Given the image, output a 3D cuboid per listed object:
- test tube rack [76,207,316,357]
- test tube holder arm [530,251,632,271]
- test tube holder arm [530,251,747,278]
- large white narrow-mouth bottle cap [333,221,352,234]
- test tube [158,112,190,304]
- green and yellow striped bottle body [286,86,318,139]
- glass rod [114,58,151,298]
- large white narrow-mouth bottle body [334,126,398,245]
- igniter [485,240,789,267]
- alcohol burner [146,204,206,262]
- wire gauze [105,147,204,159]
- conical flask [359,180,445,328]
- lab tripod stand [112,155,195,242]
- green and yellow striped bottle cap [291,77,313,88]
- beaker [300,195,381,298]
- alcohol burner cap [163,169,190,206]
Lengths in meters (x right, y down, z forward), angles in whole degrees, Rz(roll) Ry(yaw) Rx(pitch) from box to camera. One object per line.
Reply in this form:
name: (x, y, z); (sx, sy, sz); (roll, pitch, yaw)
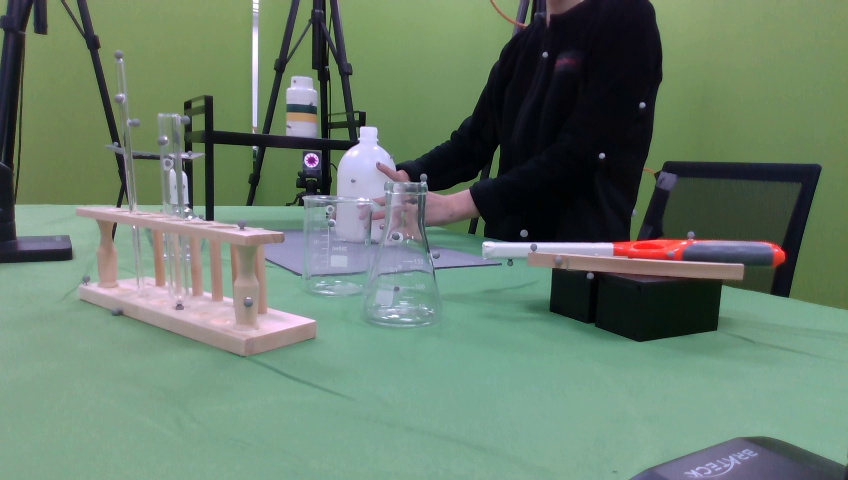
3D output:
test tube rack: (-0.196, 0.023, 0.500); (0.241, 0.085, 0.067); (8, 9, 36)
test tube holder arm: (0.139, 0.019, 0.538); (0.087, 0.015, 0.010); (3, 7, 13)
test tube holder arm: (0.182, 0.022, 0.523); (0.178, 0.015, 0.013); (3, 7, 12)
large white narrow-mouth bottle cap: (-0.152, -0.024, 1.134); (0.038, 0.024, 0.037); (4, 7, 0)
test tube: (-0.194, -0.022, 0.469); (0.017, 0.150, 0.017); (2, 12, 0)
green and yellow striped bottle body: (-0.251, -0.270, 1.245); (0.063, 0.119, 0.063); (2, 7, 0)
glass rod: (-0.236, -0.044, 0.492); (0.008, 0.199, 0.008); (0, 15, 0)
large white narrow-mouth bottle body: (-0.096, -0.094, 1.023); (0.102, 0.194, 0.102); (4, 7, 0)
igniter: (0.197, 0.012, 0.585); (0.276, 0.025, 0.057); (1, 5, 12)
alcohol burner: (-0.321, -0.032, 0.788); (0.078, 0.119, 0.078); (1, 7, 0)
wire gauze: (-0.407, -0.131, 0.928); (0.125, 0.011, 0.121); (2, 6, -11)
conical flask: (-0.017, 0.010, 0.522); (0.075, 0.122, 0.075); (2, 7, 0)
lab tripod stand: (-0.405, -0.064, 0.931); (0.148, 0.131, 0.148); (1, 7, 0)
green and yellow striped bottle cap: (-0.250, -0.321, 1.238); (0.045, 0.020, 0.045); (3, 6, 0)
beaker: (-0.087, 0.006, 0.626); (0.084, 0.100, 0.074); (1, 8, -17)
alcohol burner cap: (-0.320, -0.067, 0.782); (0.034, 0.048, 0.034); (1, 7, 0)
